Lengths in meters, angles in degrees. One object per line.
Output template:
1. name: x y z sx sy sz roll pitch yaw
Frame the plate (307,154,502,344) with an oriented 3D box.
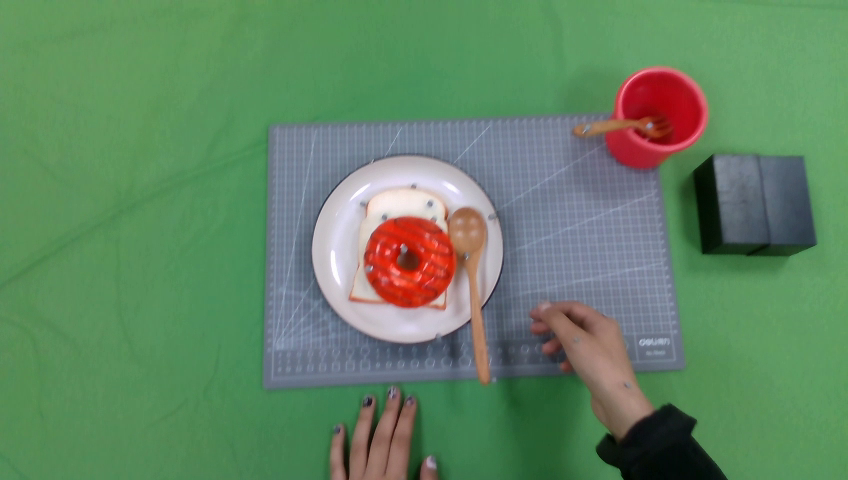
1. plate: -0.020 0.010 0.659 0.209 0.038 0.208 0 76 -1

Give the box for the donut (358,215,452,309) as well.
1. donut: -0.019 0.022 0.628 0.099 0.048 0.098 1 80 -4

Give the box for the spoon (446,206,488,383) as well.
1. spoon: 0.049 0.052 0.635 0.041 0.022 0.192 -4 63 1

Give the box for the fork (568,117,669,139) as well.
1. fork: 0.208 -0.118 0.638 0.208 0.018 0.028 -12 71 -47

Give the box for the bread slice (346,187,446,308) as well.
1. bread slice: -0.027 0.005 0.662 0.105 0.019 0.131 4 78 -1
